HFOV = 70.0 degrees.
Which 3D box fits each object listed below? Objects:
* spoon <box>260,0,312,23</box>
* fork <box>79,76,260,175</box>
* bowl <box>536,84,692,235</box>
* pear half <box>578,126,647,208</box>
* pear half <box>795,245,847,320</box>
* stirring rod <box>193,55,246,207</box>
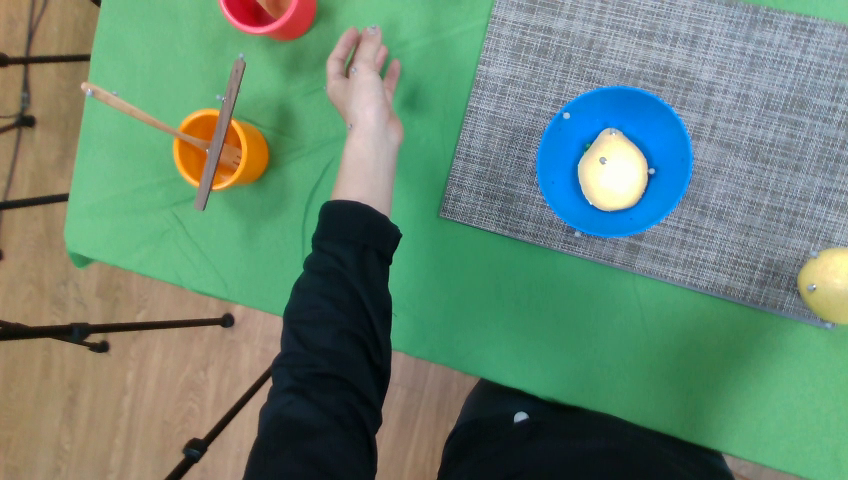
[{"bbox_3d":[-0.213,-0.290,0.659,0.195,0.021,0.042,15,103,-36],"label":"spoon"},{"bbox_3d":[-0.280,-0.127,0.685,0.209,0.018,0.028,26,113,-38],"label":"fork"},{"bbox_3d":[0.194,-0.083,0.639,0.151,0.077,0.151,1,96,11],"label":"bowl"},{"bbox_3d":[0.198,-0.078,0.633,0.070,0.031,0.088,-4,91,5],"label":"pear half"},{"bbox_3d":[0.408,0.044,0.600,0.056,0.110,0.076,-3,92,11],"label":"pear half"},{"bbox_3d":[-0.229,-0.120,0.675,0.014,0.006,0.176,20,100,4],"label":"stirring rod"}]
